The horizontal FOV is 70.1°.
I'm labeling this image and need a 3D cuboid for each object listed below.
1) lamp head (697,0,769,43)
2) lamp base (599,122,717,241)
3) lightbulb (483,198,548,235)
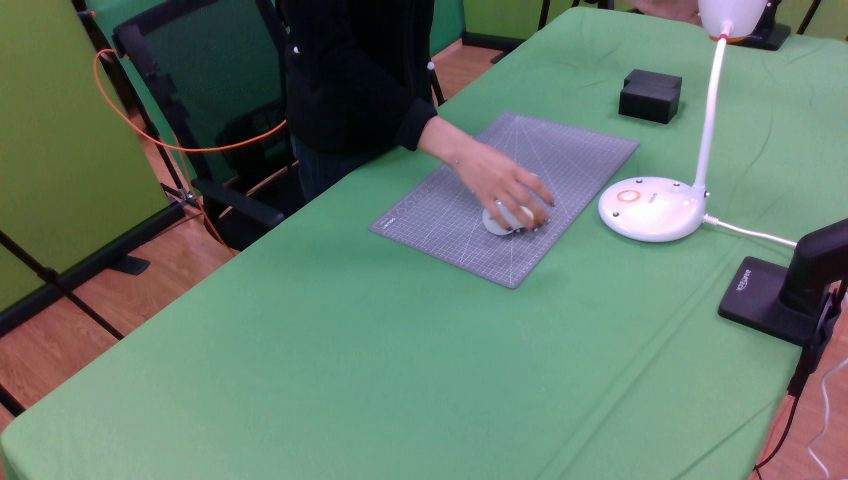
[{"bbox_3d":[0.469,-0.364,0.920,0.112,0.123,0.112,-7,33,5],"label":"lamp head"},{"bbox_3d":[0.367,-0.109,0.919,0.178,0.181,0.160,12,44,20],"label":"lamp base"},{"bbox_3d":[0.148,-0.037,0.973,0.108,0.059,0.059,1,39,-12],"label":"lightbulb"}]
